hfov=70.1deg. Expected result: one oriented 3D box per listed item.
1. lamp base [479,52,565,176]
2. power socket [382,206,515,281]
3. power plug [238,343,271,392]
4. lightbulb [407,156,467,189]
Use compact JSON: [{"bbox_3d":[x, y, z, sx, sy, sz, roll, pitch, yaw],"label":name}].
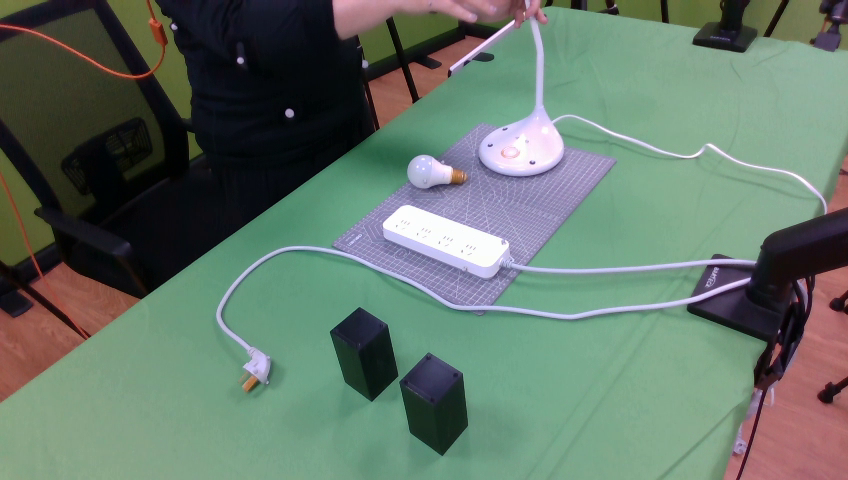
[{"bbox_3d":[0.181,-0.235,1.093,0.159,0.181,0.179,18,44,27],"label":"lamp base"},{"bbox_3d":[0.032,0.002,0.950,0.225,0.033,0.072,21,49,29],"label":"power socket"},{"bbox_3d":[-0.230,0.172,0.801,0.072,0.035,0.053,9,51,50],"label":"power plug"},{"bbox_3d":[0.023,-0.118,1.081,0.108,0.059,0.059,7,40,-6],"label":"lightbulb"}]
